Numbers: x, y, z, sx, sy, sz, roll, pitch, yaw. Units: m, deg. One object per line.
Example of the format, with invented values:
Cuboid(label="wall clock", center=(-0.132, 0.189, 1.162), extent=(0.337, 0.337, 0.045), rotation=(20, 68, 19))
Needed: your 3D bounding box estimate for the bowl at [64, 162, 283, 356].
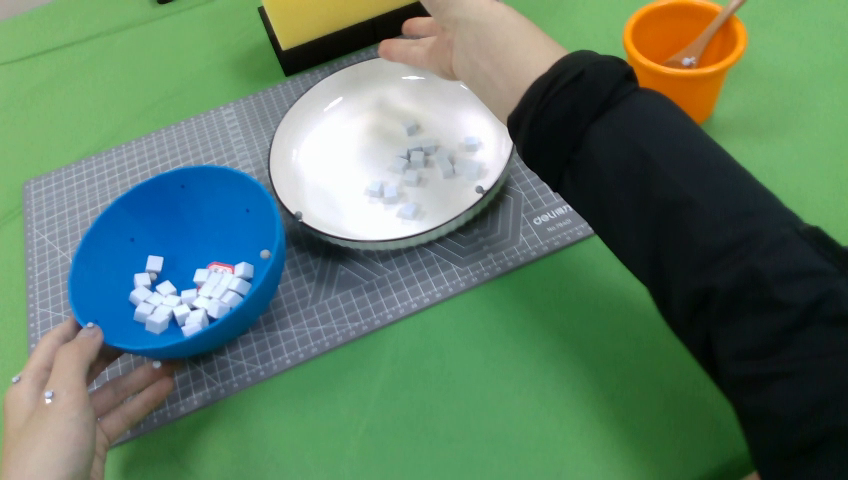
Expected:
Cuboid(label="bowl", center=(-0.168, 0.025, 0.448), extent=(0.151, 0.077, 0.150), rotation=(-4, 57, 7))

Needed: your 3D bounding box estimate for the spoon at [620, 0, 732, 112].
Cuboid(label="spoon", center=(0.230, -0.179, 0.476), extent=(0.022, 0.194, 0.041), rotation=(0, 48, -46))

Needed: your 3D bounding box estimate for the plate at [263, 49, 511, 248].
Cuboid(label="plate", center=(-0.031, -0.078, 0.515), extent=(0.209, 0.038, 0.207), rotation=(-4, 58, 6))

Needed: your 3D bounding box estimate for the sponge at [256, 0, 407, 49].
Cuboid(label="sponge", center=(-0.068, -0.274, 0.577), extent=(0.207, 0.061, 0.117), rotation=(-23, 57, -7))
